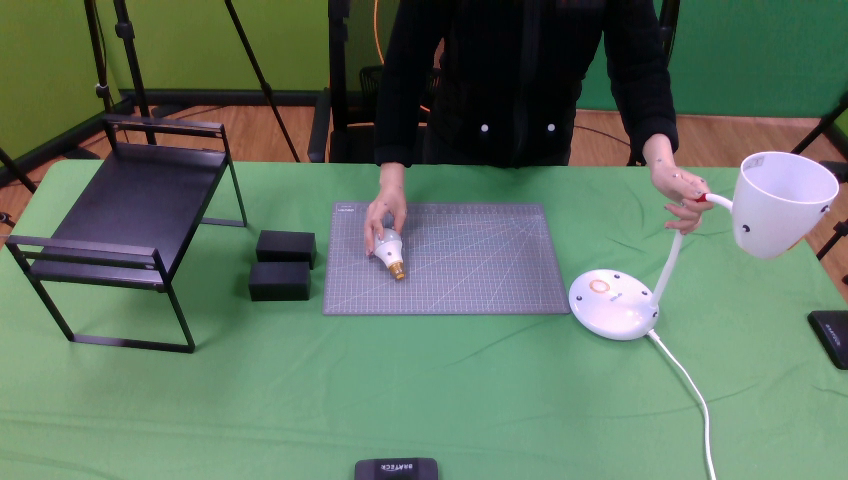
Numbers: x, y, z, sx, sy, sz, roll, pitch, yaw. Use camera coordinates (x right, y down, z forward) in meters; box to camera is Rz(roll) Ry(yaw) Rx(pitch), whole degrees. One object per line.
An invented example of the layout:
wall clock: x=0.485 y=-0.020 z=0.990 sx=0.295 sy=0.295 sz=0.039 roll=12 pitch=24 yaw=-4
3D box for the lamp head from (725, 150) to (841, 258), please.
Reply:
lamp head: x=0.442 y=-0.040 z=0.773 sx=0.112 sy=0.123 sz=0.111 roll=1 pitch=45 yaw=-1

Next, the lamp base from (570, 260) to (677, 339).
lamp base: x=0.359 y=0.067 z=1.047 sx=0.178 sy=0.181 sz=0.160 roll=37 pitch=55 yaw=25

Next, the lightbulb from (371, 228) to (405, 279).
lightbulb: x=-0.063 y=0.027 z=1.144 sx=0.059 sy=0.060 sz=0.107 roll=-16 pitch=64 yaw=-18
